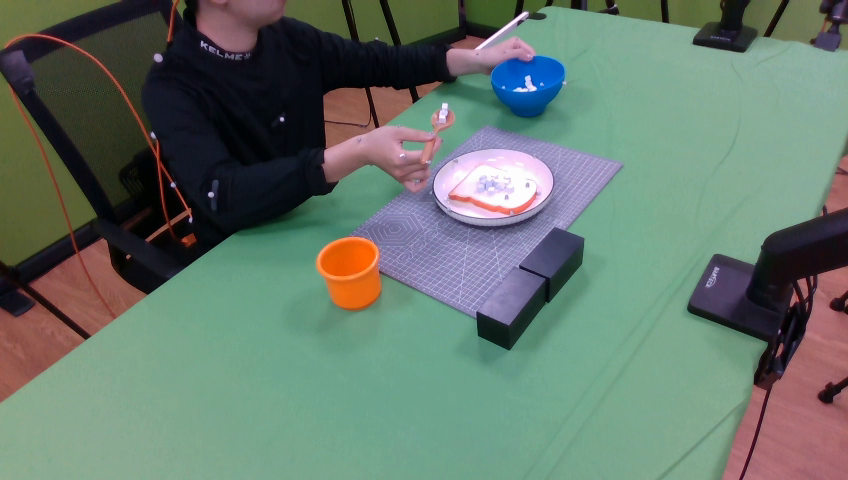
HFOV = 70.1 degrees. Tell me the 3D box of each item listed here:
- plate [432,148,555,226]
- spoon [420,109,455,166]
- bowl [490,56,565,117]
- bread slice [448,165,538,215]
[{"bbox_3d":[0.120,-0.087,1.037,0.209,0.038,0.208,-4,40,4],"label":"plate"},{"bbox_3d":[0.016,-0.170,0.984,0.041,0.022,0.193,8,33,10],"label":"spoon"},{"bbox_3d":[0.213,-0.307,1.242,0.151,0.077,0.150,-5,42,5],"label":"bowl"},{"bbox_3d":[0.126,-0.085,1.038,0.133,0.018,0.107,16,45,27],"label":"bread slice"}]
